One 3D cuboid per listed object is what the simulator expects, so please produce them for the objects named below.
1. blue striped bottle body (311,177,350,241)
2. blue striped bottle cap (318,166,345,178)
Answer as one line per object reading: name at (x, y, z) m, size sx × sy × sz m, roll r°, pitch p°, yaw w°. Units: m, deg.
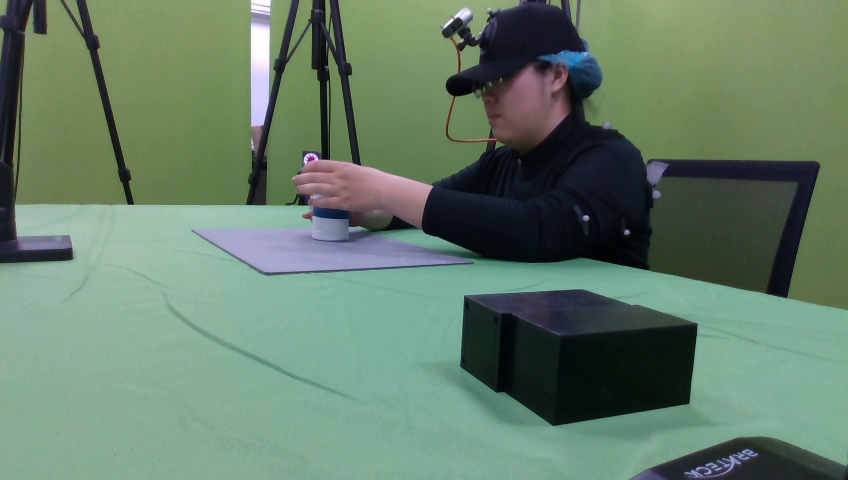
blue striped bottle body at (-0.158, -0.061, 1.022) m, size 0.063 × 0.120 × 0.063 m, roll 3°, pitch 5°, yaw 0°
blue striped bottle cap at (-0.155, -0.114, 1.014) m, size 0.044 × 0.020 × 0.044 m, roll 4°, pitch 6°, yaw 0°
